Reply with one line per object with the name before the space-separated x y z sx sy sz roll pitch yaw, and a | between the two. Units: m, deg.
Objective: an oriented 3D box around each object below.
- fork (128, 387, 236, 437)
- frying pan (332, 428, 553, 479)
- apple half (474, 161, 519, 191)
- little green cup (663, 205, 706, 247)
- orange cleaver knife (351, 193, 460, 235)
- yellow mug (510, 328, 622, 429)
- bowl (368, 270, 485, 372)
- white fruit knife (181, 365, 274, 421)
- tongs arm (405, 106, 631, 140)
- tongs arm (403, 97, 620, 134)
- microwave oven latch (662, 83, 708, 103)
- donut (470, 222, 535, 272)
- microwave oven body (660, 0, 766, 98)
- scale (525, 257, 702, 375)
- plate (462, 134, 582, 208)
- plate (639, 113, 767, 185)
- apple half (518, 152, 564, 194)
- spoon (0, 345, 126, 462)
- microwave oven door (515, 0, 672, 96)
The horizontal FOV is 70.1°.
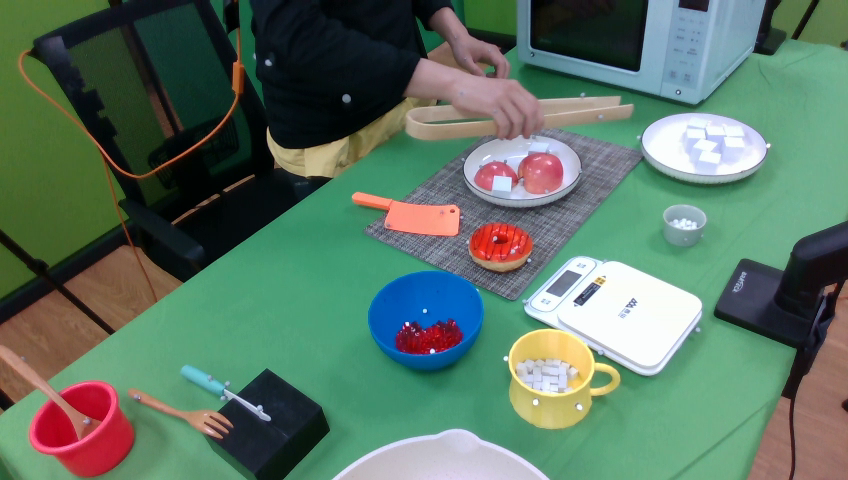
fork | -0.305 0.207 0.744 0.206 0.019 0.028 3 41 36
frying pan | -0.089 0.306 0.564 0.487 0.103 0.306 10 41 7
apple half | 0.131 -0.119 1.068 0.081 0.033 0.081 -4 36 3
little green cup | 0.396 -0.020 0.926 0.061 0.039 0.061 -4 40 4
orange cleaver knife | -0.036 -0.044 1.029 0.210 0.012 0.077 10 48 18
yellow mug | 0.169 0.164 0.721 0.130 0.064 0.099 0 40 8
bowl | 0.007 0.118 0.791 0.151 0.077 0.150 -4 40 4
white fruit knife | -0.245 0.187 0.747 0.205 0.027 0.016 9 41 40
tongs arm | 0.158 -0.185 0.937 0.390 0.028 0.028 -8 46 -19
tongs arm | 0.150 -0.199 0.954 0.387 0.026 0.050 -5 41 -16
microwave oven latch | 0.517 -0.296 1.204 0.078 0.029 0.030 27 52 35
donut | 0.119 0.009 0.923 0.099 0.048 0.098 -4 38 4
microwave oven body | 0.472 -0.513 1.317 0.438 0.261 0.327 26 51 34
scale | 0.254 0.091 0.821 0.199 0.032 0.149 28 51 35
plate | 0.173 -0.119 1.070 0.209 0.038 0.208 -4 40 4
plate | 0.489 -0.157 1.074 0.207 0.039 0.206 -4 40 4
apple half | 0.204 -0.124 1.048 0.075 0.053 0.080 -6 41 -2
spoon | -0.434 0.192 0.720 0.194 0.021 0.042 47 53 -6
microwave oven door | 0.343 -0.454 1.259 0.353 0.245 0.039 26 51 33
